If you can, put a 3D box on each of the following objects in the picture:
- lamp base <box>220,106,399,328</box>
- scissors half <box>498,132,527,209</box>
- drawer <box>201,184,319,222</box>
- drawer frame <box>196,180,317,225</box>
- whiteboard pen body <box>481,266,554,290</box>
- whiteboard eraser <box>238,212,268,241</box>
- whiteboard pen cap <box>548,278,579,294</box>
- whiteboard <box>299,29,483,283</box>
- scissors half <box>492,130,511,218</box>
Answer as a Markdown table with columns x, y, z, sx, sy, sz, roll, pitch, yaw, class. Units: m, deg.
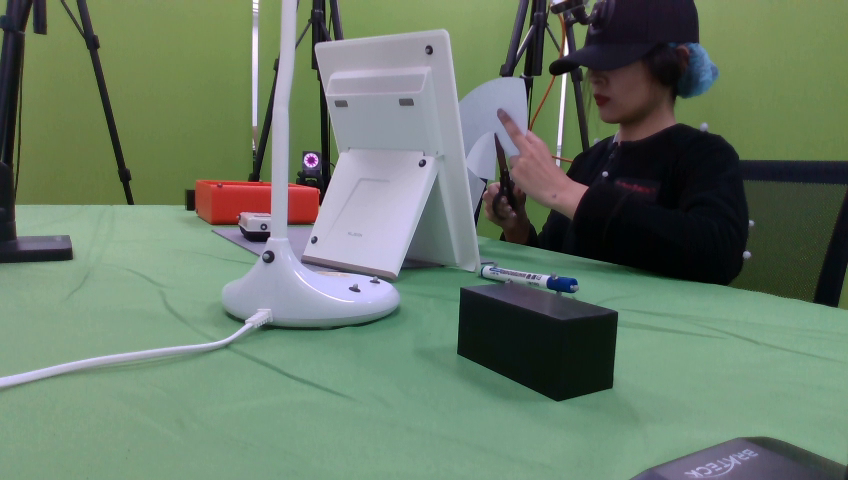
| x | y | z | sx | sy | sz | roll | pitch | yaw | class |
| --- | --- | --- | --- | --- | --- | --- | --- | --- | --- |
| -0.102 | -0.023 | 0.531 | 0.160 | 0.180 | 0.179 | 4 | 10 | 10 | lamp base |
| 0.155 | -0.123 | 1.075 | 0.040 | 0.176 | 0.012 | -39 | 44 | -12 | scissors half |
| -0.353 | -0.082 | 1.295 | 0.213 | 0.073 | 0.193 | -2 | 10 | -28 | drawer |
| -0.359 | -0.083 | 1.292 | 0.215 | 0.082 | 0.200 | -2 | 10 | -30 | drawer frame |
| 0.115 | 0.044 | 0.695 | 0.017 | 0.017 | 0.140 | -3 | 5 | -35 | whiteboard pen body |
| -0.272 | -0.024 | 0.998 | 0.056 | 0.042 | 0.112 | -2 | 9 | -24 | whiteboard eraser |
| 0.148 | 0.049 | 0.647 | 0.018 | 0.018 | 0.033 | -3 | 3 | -35 | whiteboard pen cap |
| -0.074 | -0.082 | 0.742 | 0.216 | 0.305 | 0.144 | 9 | 29 | 38 | whiteboard |
| 0.138 | -0.113 | 1.068 | 0.040 | 0.175 | 0.013 | -25 | 39 | -30 | scissors half |
